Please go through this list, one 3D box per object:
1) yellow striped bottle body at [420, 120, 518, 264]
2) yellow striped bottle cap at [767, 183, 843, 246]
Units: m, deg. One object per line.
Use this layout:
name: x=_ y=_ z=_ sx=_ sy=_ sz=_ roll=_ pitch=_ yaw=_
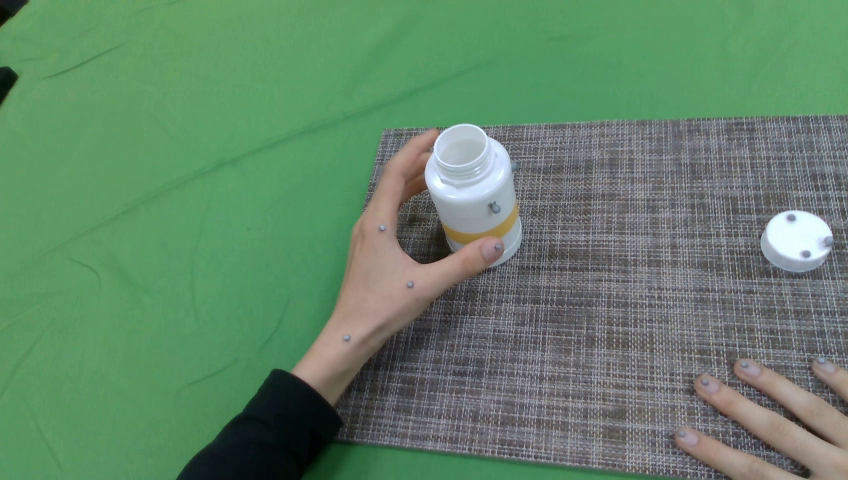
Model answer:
yellow striped bottle body: x=0.035 y=-0.037 z=0.458 sx=0.063 sy=0.121 sz=0.062 roll=-6 pitch=57 yaw=11
yellow striped bottle cap: x=0.265 y=-0.018 z=0.423 sx=0.044 sy=0.019 sz=0.044 roll=-9 pitch=49 yaw=10
